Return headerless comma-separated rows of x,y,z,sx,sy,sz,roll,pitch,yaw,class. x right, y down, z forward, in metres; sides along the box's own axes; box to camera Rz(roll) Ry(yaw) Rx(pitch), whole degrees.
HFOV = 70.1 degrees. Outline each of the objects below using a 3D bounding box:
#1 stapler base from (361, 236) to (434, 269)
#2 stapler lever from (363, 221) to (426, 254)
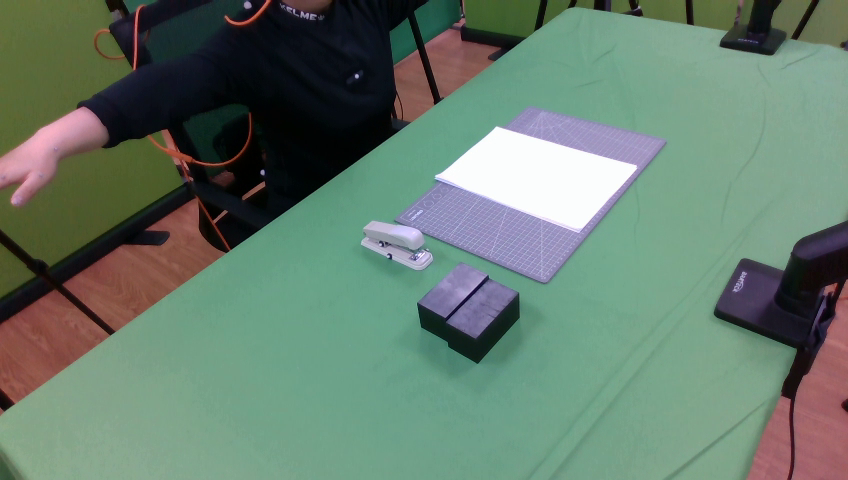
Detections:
-0.044,0.009,0.974,0.129,0.024,0.041,21,46,32,stapler base
-0.048,-0.011,0.958,0.117,0.040,0.027,21,46,32,stapler lever
